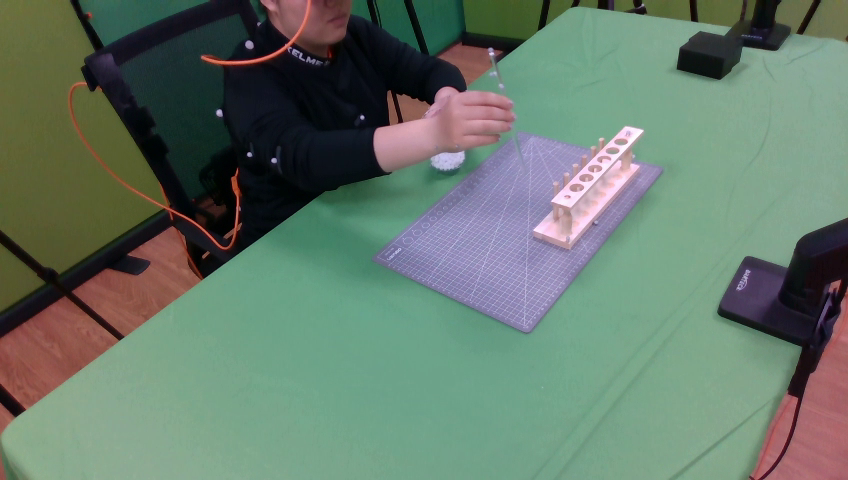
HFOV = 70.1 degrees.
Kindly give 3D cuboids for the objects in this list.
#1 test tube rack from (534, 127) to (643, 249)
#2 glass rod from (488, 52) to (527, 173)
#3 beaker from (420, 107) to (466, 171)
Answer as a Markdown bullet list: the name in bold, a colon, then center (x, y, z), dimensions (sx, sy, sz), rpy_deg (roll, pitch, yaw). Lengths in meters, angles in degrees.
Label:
- **test tube rack**: center (0.272, -0.094, 0.990), dimensions (0.066, 0.085, 0.243), rpy_deg (23, 50, 33)
- **glass rod**: center (0.122, -0.178, 0.873), dimensions (0.008, 0.201, 0.008), rpy_deg (-16, 35, 12)
- **beaker**: center (0.039, -0.186, 1.119), dimensions (0.073, 0.101, 0.084), rpy_deg (9, 47, 21)
